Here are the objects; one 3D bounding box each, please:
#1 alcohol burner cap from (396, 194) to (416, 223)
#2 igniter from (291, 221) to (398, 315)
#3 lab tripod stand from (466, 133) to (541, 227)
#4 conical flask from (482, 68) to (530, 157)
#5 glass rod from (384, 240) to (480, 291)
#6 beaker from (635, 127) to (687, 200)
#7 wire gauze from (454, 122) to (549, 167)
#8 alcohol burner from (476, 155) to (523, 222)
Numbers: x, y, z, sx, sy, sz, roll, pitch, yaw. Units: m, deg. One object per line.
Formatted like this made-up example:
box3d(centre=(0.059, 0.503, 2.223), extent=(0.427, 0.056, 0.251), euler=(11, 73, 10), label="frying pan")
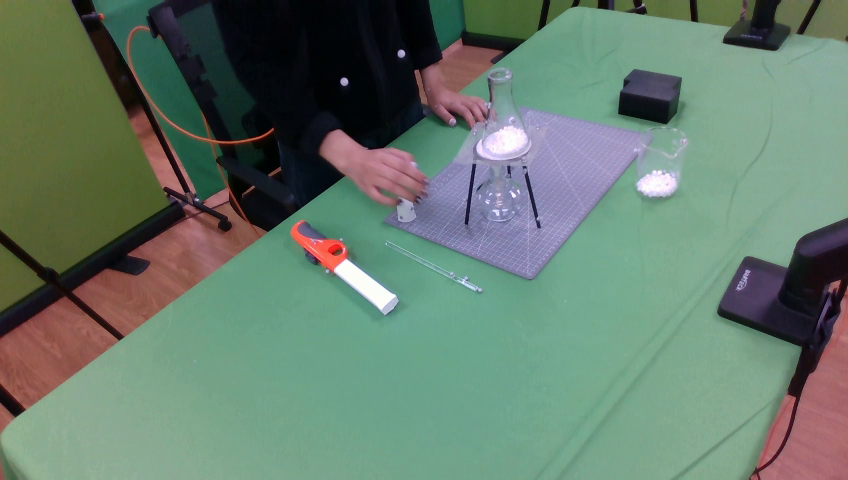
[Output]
box3d(centre=(-0.032, -0.056, 1.036), extent=(0.034, 0.048, 0.033), euler=(-6, 39, 5), label="alcohol burner cap")
box3d(centre=(-0.136, 0.037, 0.963), extent=(0.057, 0.025, 0.274), euler=(-41, 48, -18), label="igniter")
box3d(centre=(0.130, -0.099, 0.985), extent=(0.148, 0.132, 0.147), euler=(-6, 39, 6), label="lab tripod stand")
box3d(centre=(0.118, -0.192, 0.902), extent=(0.075, 0.122, 0.075), euler=(-7, 39, 6), label="conical flask")
box3d(centre=(0.009, 0.037, 0.949), extent=(0.198, 0.008, 0.008), euler=(26, 52, 34), label="glass rod")
box3d(centre=(0.388, -0.122, 0.995), extent=(0.074, 0.101, 0.083), euler=(-8, 40, 2), label="beaker")
box3d(centre=(0.122, -0.149, 0.943), extent=(0.121, 0.011, 0.125), euler=(7, 44, 22), label="wire gauze")
box3d(centre=(0.123, -0.089, 0.990), extent=(0.078, 0.120, 0.077), euler=(-7, 41, 6), label="alcohol burner")
